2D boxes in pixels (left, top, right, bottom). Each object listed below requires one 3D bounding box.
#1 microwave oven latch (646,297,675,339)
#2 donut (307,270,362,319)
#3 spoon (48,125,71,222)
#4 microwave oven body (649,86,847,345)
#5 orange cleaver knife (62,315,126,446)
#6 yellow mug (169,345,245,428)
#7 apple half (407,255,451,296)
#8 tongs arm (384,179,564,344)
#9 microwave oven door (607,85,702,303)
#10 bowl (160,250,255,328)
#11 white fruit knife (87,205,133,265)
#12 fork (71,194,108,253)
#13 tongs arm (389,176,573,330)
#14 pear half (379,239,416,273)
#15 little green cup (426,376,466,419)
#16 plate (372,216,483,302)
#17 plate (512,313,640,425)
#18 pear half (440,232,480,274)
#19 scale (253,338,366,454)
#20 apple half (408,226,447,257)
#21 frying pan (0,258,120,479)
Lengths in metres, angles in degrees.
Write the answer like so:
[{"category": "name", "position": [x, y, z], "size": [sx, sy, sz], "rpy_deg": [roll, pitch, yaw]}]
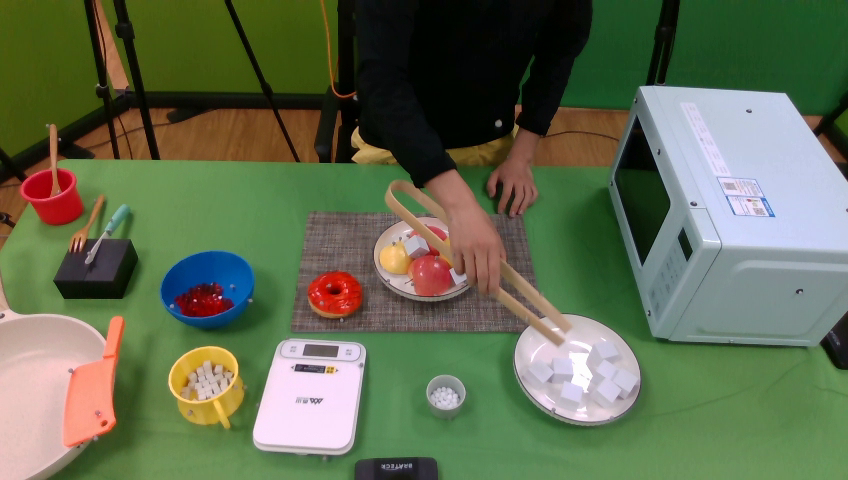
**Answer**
[{"category": "microwave oven latch", "position": [0.412, 0.134, 1.061], "size": [0.030, 0.029, 0.078], "rpy_deg": [4, 45, 1]}, {"category": "donut", "position": [-0.158, 0.096, 1.073], "size": [0.099, 0.048, 0.098], "rpy_deg": [4, 46, -4]}, {"category": "spoon", "position": [-0.718, -0.131, 1.188], "size": [0.041, 0.021, 0.193], "rpy_deg": [-3, 90, -7]}, {"category": "microwave oven body", "position": [0.567, -0.053, 1.118], "size": [0.326, 0.261, 0.439], "rpy_deg": [2, 45, -1]}, {"category": "orange cleaver knife", "position": [-0.480, 0.199, 0.887], "size": [0.077, 0.012, 0.210], "rpy_deg": [-9, 47, -8]}, {"category": "yellow mug", "position": [-0.322, 0.230, 0.922], "size": [0.100, 0.064, 0.130], "rpy_deg": [-24, 53, -25]}, {"category": "apple half", "position": [0.011, 0.058, 1.103], "size": [0.075, 0.053, 0.080], "rpy_deg": [-6, 43, -13]}, {"category": "tongs arm", "position": [0.074, 0.034, 0.994], "size": [0.386, 0.028, 0.028], "rpy_deg": [41, 52, 10]}, {"category": "microwave oven door", "position": [0.423, -0.094, 1.140], "size": [0.039, 0.245, 0.353], "rpy_deg": [2, 46, -1]}, {"category": "bowl", "position": [-0.362, 0.098, 1.040], "size": [0.151, 0.077, 0.150], "rpy_deg": [2, 45, -2]}, {"category": "white fruit knife", "position": [-0.584, -0.013, 1.129], "size": [0.016, 0.027, 0.206], "rpy_deg": [-1, 32, -4]}, {"category": "fork", "position": [-0.634, -0.036, 1.158], "size": [0.028, 0.019, 0.206], "rpy_deg": [-8, 31, -8]}, {"category": "tongs arm", "position": [0.089, 0.021, 1.012], "size": [0.383, 0.026, 0.051], "rpy_deg": [44, 49, 12]}, {"category": "pear half", "position": [-0.048, 0.024, 1.146], "size": [0.070, 0.031, 0.087], "rpy_deg": [12, 48, -11]}, {"category": "little green cup", "position": [0.033, 0.248, 0.950], "size": [0.061, 0.039, 0.061], "rpy_deg": [2, 46, -2]}, {"category": "plate", "position": [0.006, 0.038, 1.145], "size": [0.209, 0.038, 0.208], "rpy_deg": [2, 46, -2]}, {"category": "plate", "position": [0.246, 0.213, 0.999], "size": [0.208, 0.039, 0.206], "rpy_deg": [2, 46, -2]}, {"category": "pear half", "position": [0.065, 0.006, 1.150], "size": [0.076, 0.056, 0.109], "rpy_deg": [-10, 43, -2]}, {"category": "scale", "position": [-0.175, 0.236, 0.951], "size": [0.149, 0.032, 0.199], "rpy_deg": [4, 45, -1]}, {"category": "apple half", "position": [0.011, -0.006, 1.176], "size": [0.081, 0.033, 0.081], "rpy_deg": [2, 53, -3]}, {"category": "frying pan", "position": [-0.647, 0.164, 0.936], "size": [0.307, 0.103, 0.485], "rpy_deg": [-19, 58, -22]}]
